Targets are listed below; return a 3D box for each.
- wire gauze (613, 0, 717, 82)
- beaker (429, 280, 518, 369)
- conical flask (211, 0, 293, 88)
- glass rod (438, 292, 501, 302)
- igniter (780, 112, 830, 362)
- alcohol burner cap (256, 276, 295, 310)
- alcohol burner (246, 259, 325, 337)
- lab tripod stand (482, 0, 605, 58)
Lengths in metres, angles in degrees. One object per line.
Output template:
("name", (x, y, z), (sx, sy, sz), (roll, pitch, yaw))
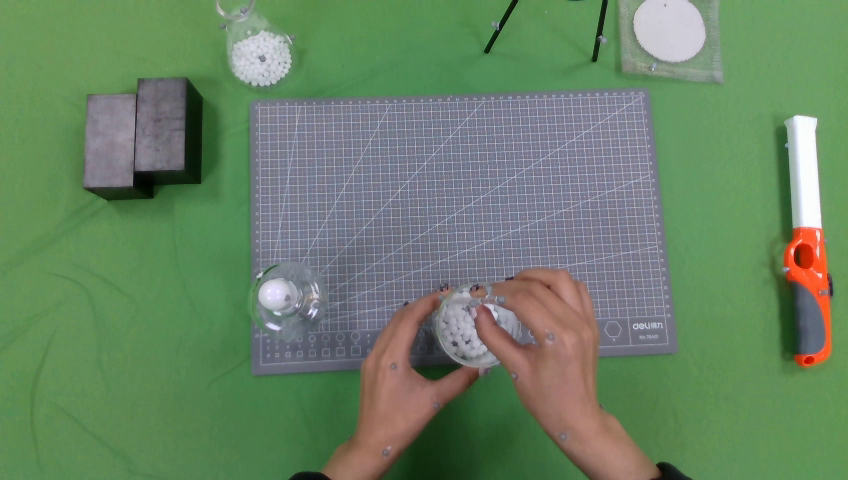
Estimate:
("wire gauze", (0.283, -0.248, 0.708), (0.125, 0.011, 0.121), (3, 81, -4))
("beaker", (0.044, 0.075, 0.568), (0.074, 0.100, 0.084), (42, 82, 2))
("conical flask", (-0.183, -0.214, 0.625), (0.075, 0.122, 0.075), (0, 80, -2))
("glass rod", (0.034, 0.048, 0.511), (0.008, 0.199, 0.008), (1, 84, -10))
("igniter", (0.416, -0.006, 0.665), (0.057, 0.025, 0.275), (5, 81, -12))
("alcohol burner cap", (-0.136, 0.047, 0.550), (0.034, 0.048, 0.034), (1, 84, -6))
("alcohol burner", (-0.138, 0.054, 0.586), (0.078, 0.119, 0.077), (0, 80, 0))
("lab tripod stand", (0.135, -0.260, 0.640), (0.148, 0.132, 0.148), (0, 83, -2))
